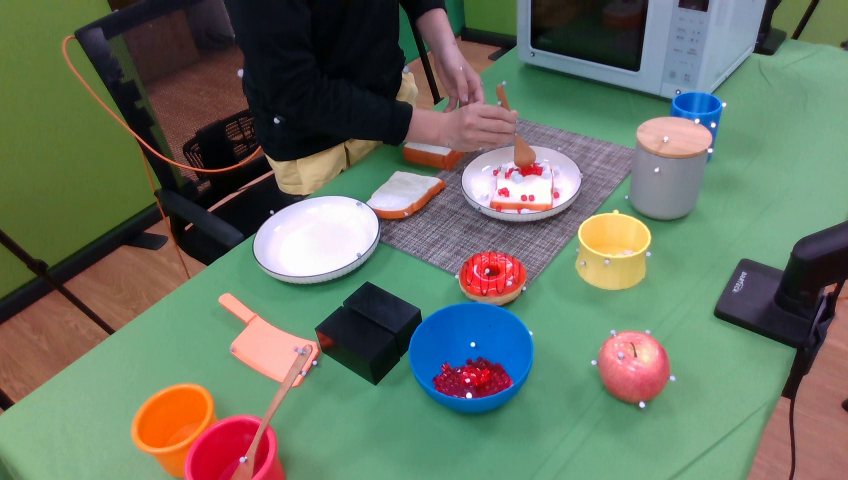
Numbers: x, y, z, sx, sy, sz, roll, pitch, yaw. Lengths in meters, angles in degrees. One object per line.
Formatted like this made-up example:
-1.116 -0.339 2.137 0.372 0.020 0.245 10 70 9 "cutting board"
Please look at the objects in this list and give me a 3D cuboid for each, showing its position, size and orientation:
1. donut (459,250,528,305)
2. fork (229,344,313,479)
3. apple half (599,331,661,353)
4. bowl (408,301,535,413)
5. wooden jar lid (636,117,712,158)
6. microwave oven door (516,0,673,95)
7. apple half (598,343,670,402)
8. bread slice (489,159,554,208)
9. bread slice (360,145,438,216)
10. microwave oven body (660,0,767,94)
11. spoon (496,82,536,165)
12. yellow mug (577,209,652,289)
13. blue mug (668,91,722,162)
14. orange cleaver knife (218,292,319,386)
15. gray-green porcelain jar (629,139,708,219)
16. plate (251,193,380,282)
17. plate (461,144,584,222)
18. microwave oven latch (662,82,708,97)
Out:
0.100 0.053 0.873 0.099 0.048 0.098 -5 40 5 "donut"
-0.173 0.205 0.662 0.028 0.019 0.207 29 94 36 "fork"
0.249 0.134 0.738 0.081 0.081 0.032 -1 46 7 "apple half"
0.060 0.156 0.739 0.151 0.077 0.150 -4 40 4 "bowl"
0.377 -0.151 0.917 0.108 0.021 0.108 -2 42 2 "wooden jar lid"
0.344 -0.458 1.257 0.353 0.245 0.039 26 51 33 "microwave oven door"
0.247 0.161 0.710 0.081 0.075 0.053 2 47 5 "apple half"
0.172 -0.101 1.046 0.104 0.019 0.131 4 40 12 "bread slice"
-0.053 -0.103 1.046 0.106 0.018 0.134 18 66 22 "bread slice"
0.473 -0.516 1.313 0.438 0.261 0.327 26 51 34 "microwave oven body"
0.148 -0.188 1.001 0.041 0.195 0.021 -23 47 10 "spoon"
0.279 0.004 0.893 0.099 0.064 0.130 5 41 15 "yellow mug"
0.474 -0.207 1.079 0.082 0.106 0.116 4 42 13 "blue mug"
-0.235 0.136 0.850 0.209 0.012 0.077 25 57 30 "orange cleaver knife"
0.383 -0.104 0.958 0.106 0.127 0.105 -4 41 4 "gray-green porcelain jar"
-0.173 -0.001 0.984 0.209 0.038 0.208 -4 40 4 "plate"
0.168 -0.095 1.040 0.207 0.039 0.206 -4 40 4 "plate"
0.518 -0.298 1.202 0.078 0.029 0.030 28 53 35 "microwave oven latch"
